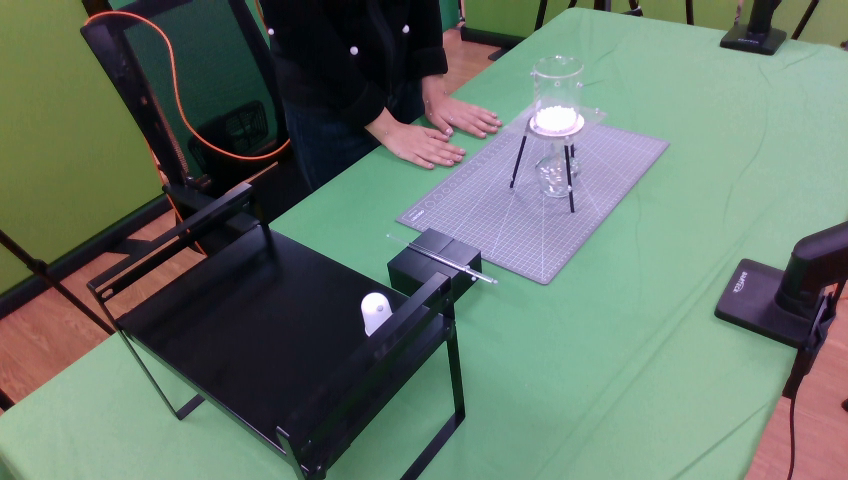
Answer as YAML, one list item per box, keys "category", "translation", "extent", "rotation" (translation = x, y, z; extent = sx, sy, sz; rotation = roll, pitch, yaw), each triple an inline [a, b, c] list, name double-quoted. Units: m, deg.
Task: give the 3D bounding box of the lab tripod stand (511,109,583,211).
- category: "lab tripod stand"
  translation: [0.220, -0.138, 1.014]
  extent: [0.148, 0.132, 0.147]
  rotation: [-3, 41, 3]

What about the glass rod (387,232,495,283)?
- category: "glass rod"
  translation: [0.020, 0.025, 0.880]
  extent: [0.198, 0.008, 0.008]
  rotation: [23, 49, 32]

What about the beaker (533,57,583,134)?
- category: "beaker"
  translation: [0.208, -0.225, 0.941]
  extent: [0.073, 0.101, 0.084]
  rotation: [11, 44, 20]

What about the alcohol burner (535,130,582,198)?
- category: "alcohol burner"
  translation: [0.227, -0.131, 1.021]
  extent: [0.078, 0.119, 0.077]
  rotation: [-6, 40, 5]

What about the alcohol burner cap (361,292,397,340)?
- category: "alcohol burner cap"
  translation: [-0.046, 0.073, 0.601]
  extent: [0.034, 0.048, 0.033]
  rotation: [-4, 42, 4]

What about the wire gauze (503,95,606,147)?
- category: "wire gauze"
  translation: [0.211, -0.191, 0.976]
  extent: [0.120, 0.011, 0.125]
  rotation: [24, 52, 32]
